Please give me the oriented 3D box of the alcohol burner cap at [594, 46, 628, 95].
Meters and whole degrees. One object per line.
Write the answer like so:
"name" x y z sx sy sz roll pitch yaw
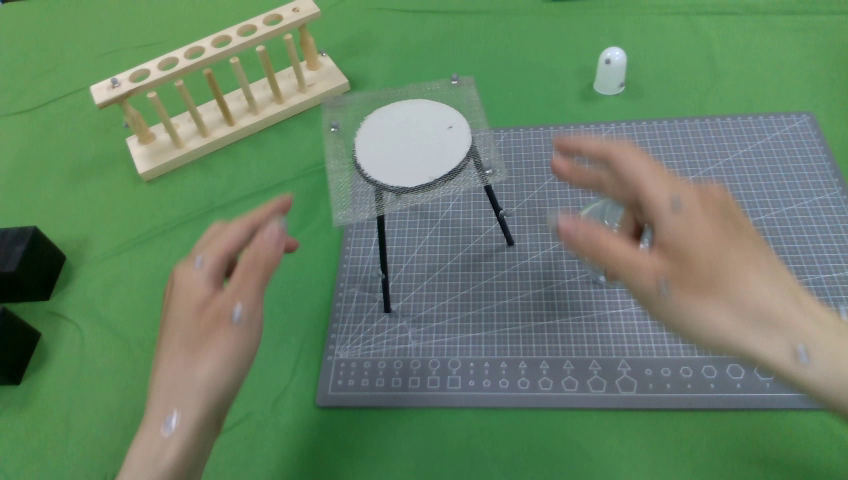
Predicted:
"alcohol burner cap" 0.196 -0.178 0.628 0.034 0.048 0.033 -4 54 6

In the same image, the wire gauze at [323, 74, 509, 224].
"wire gauze" -0.011 -0.073 0.435 0.121 0.011 0.124 -11 55 0

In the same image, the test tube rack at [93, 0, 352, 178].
"test tube rack" -0.207 -0.166 0.647 0.242 0.086 0.066 -27 55 -12

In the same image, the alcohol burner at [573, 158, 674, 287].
"alcohol burner" 0.156 -0.017 0.469 0.078 0.120 0.077 -4 52 5

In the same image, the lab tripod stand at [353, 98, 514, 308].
"lab tripod stand" -0.001 -0.032 0.488 0.148 0.133 0.147 -3 56 5
